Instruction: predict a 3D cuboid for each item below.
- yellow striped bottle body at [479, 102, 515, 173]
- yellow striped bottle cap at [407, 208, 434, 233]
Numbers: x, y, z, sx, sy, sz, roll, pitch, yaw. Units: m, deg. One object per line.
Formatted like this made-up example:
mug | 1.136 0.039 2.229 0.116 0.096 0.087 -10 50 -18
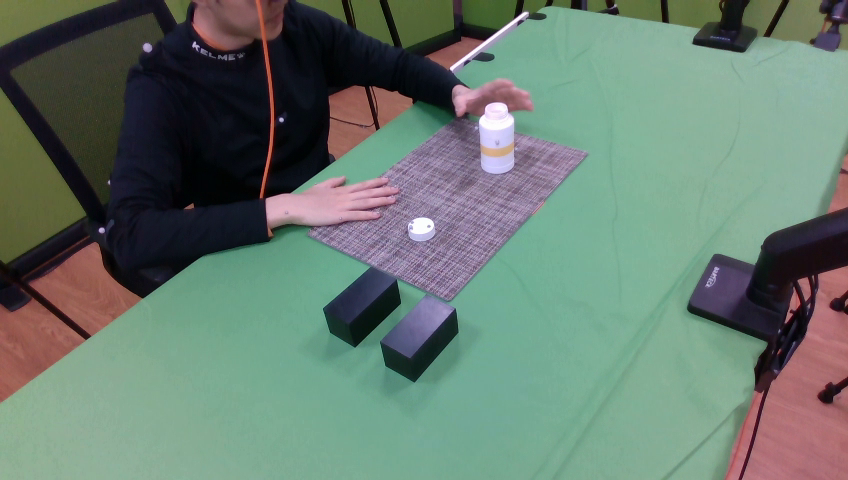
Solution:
yellow striped bottle body | 0.131 -0.186 1.083 0.063 0.121 0.062 -4 41 4
yellow striped bottle cap | -0.006 -0.032 0.972 0.044 0.019 0.044 2 44 -2
